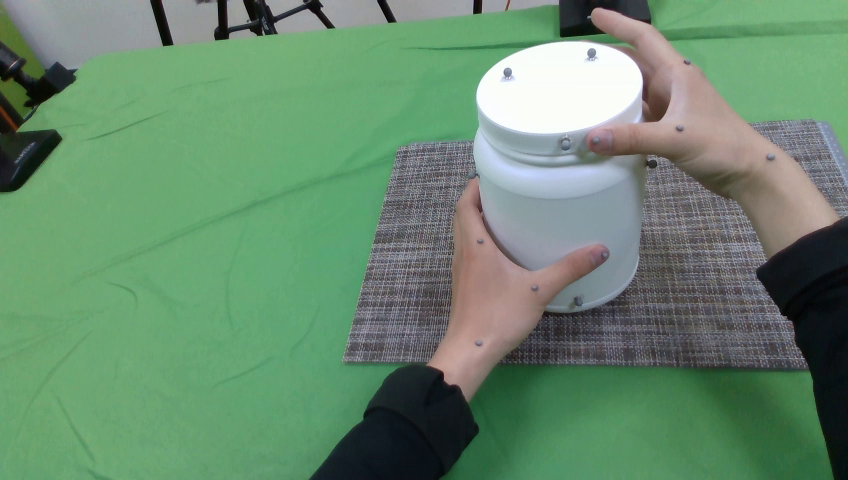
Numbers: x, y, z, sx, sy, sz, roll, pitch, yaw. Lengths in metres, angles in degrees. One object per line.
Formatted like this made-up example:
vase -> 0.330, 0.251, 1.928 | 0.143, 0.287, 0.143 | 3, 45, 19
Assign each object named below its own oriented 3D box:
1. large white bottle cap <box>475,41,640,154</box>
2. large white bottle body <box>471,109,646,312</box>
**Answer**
large white bottle cap -> 0.093, -0.104, 0.430 | 0.115, 0.018, 0.113 | -8, 46, 9
large white bottle body -> 0.109, -0.044, 0.492 | 0.130, 0.186, 0.129 | -7, 45, 8
